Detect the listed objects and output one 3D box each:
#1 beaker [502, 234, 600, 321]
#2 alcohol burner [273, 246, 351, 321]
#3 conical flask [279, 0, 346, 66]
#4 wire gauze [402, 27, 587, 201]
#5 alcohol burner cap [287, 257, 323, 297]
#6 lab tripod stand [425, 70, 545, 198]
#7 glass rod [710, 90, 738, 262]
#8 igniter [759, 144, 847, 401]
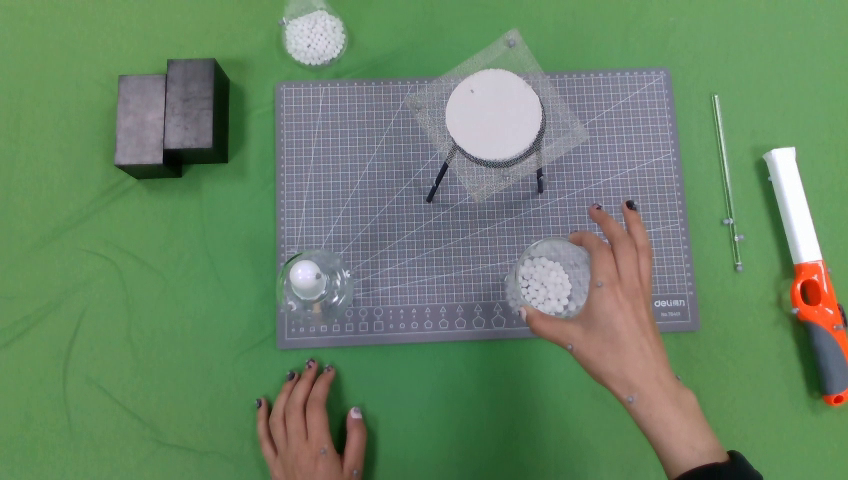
[{"bbox_3d":[0.117,0.039,0.583,0.084,0.100,0.073,-19,80,-5],"label":"beaker"},{"bbox_3d":[-0.112,0.040,0.595,0.078,0.119,0.077,0,79,-2],"label":"alcohol burner"},{"bbox_3d":[-0.127,-0.244,0.640,0.075,0.122,0.075,0,80,0],"label":"conical flask"},{"bbox_3d":[0.063,-0.113,0.545,0.125,0.011,0.121,-32,84,-5],"label":"wire gauze"},{"bbox_3d":[-0.111,0.032,0.560,0.034,0.048,0.033,2,72,-6],"label":"alcohol burner cap"},{"bbox_3d":[0.062,-0.098,0.610,0.148,0.132,0.148,0,82,0],"label":"lab tripod stand"},{"bbox_3d":[0.335,-0.074,0.676,0.008,0.008,0.199,-2,81,-1],"label":"glass rod"},{"bbox_3d":[0.410,0.031,0.650,0.057,0.025,0.275,-7,81,-12],"label":"igniter"}]
